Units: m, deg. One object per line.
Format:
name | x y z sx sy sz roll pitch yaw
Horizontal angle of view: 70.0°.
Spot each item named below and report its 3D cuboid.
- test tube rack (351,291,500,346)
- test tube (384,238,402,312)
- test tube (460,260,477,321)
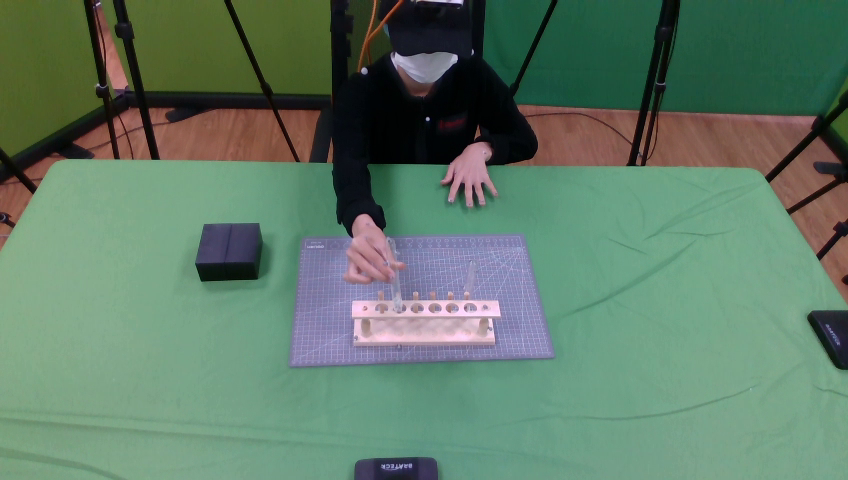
test tube rack | 0.001 0.129 1.026 0.242 0.085 0.066 0 46 -4
test tube | -0.047 0.058 0.931 0.017 0.151 0.017 -2 41 2
test tube | 0.073 0.086 1.011 0.017 0.151 0.017 2 46 -2
